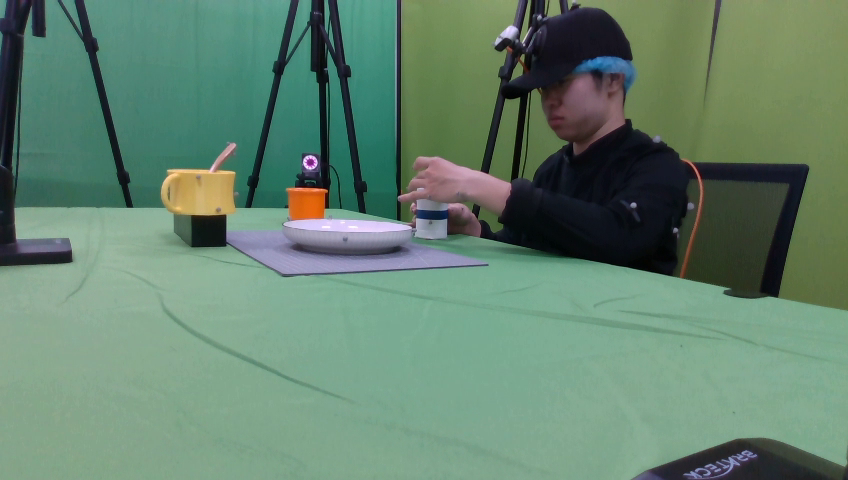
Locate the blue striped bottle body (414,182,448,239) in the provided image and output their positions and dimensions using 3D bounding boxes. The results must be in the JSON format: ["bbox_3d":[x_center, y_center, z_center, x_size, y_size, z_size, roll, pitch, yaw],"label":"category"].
[{"bbox_3d":[0.014,-0.065,1.166,0.063,0.120,0.063,2,8,0],"label":"blue striped bottle body"}]

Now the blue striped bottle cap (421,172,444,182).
[{"bbox_3d":[0.017,-0.121,1.160,0.044,0.020,0.044,-1,8,1],"label":"blue striped bottle cap"}]

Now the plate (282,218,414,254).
[{"bbox_3d":[-0.121,-0.007,0.971,0.208,0.039,0.207,2,7,0],"label":"plate"}]

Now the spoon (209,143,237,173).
[{"bbox_3d":[-0.341,-0.113,0.990,0.041,0.021,0.193,1,40,7],"label":"spoon"}]

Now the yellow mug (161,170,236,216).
[{"bbox_3d":[-0.354,-0.074,0.935,0.099,0.064,0.131,5,9,21],"label":"yellow mug"}]
